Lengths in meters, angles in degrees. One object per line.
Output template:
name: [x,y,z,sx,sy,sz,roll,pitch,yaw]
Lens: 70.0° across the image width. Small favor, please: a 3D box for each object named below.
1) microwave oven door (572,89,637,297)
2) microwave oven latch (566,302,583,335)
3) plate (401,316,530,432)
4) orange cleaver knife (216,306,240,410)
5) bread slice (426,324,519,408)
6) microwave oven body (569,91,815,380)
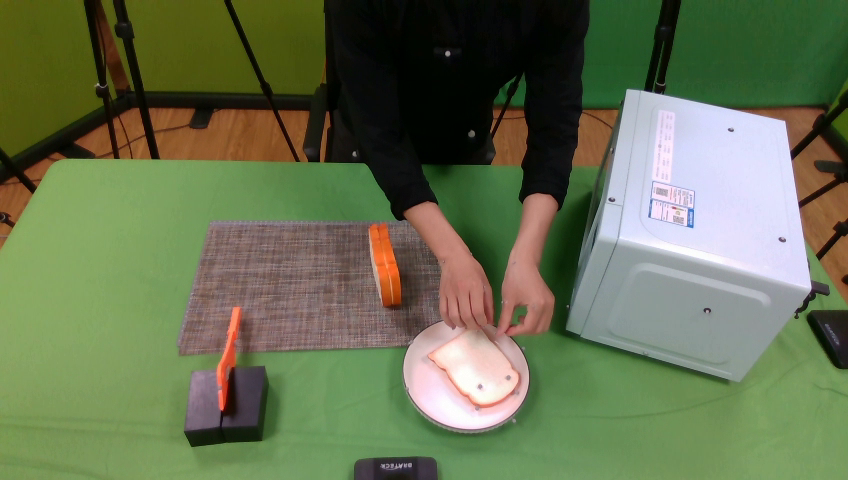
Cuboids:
microwave oven door: [0.343,-0.091,1.133,0.039,0.245,0.354,15,47,11]
microwave oven latch: [0.268,0.126,1.059,0.030,0.029,0.079,16,46,12]
plate: [0.066,0.217,0.982,0.208,0.039,0.206,2,46,-2]
orange cleaver knife: [-0.307,0.180,0.957,0.012,0.077,0.210,-2,25,-8]
bread slice: [0.087,0.209,0.989,0.107,0.018,0.133,-32,57,-26]
microwave oven body: [0.468,-0.022,1.082,0.325,0.261,0.440,15,46,11]
